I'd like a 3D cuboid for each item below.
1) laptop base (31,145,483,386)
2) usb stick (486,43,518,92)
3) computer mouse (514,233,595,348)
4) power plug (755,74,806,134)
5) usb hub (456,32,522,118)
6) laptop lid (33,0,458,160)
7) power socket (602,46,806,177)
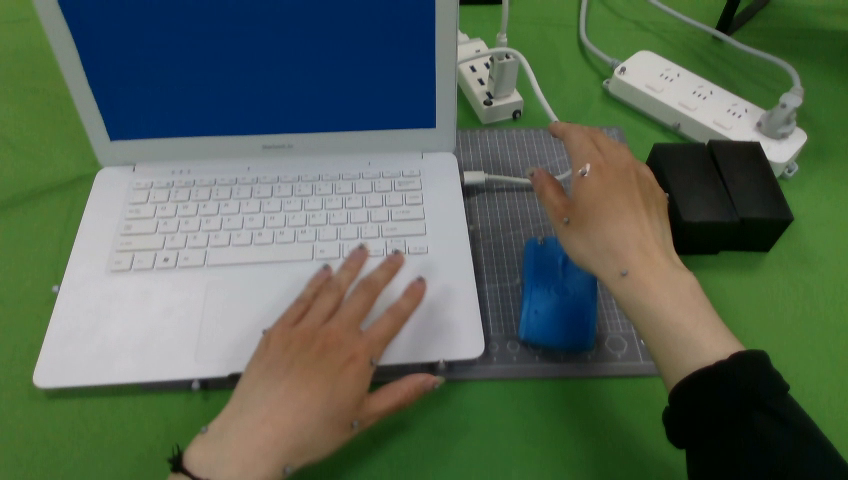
[{"bbox_3d":[-0.136,0.011,0.542,0.355,0.023,0.233,-3,57,-4],"label":"laptop base"},{"bbox_3d":[0.083,-0.179,0.653,0.027,0.060,0.021,-20,54,-13],"label":"usb stick"},{"bbox_3d":[0.112,0.037,0.515,0.062,0.041,0.116,8,48,7],"label":"computer mouse"},{"bbox_3d":[0.378,-0.133,0.631,0.072,0.053,0.035,-29,57,-20],"label":"power plug"},{"bbox_3d":[0.064,-0.192,0.698,0.049,0.025,0.124,-15,54,-13],"label":"usb hub"},{"bbox_3d":[-0.145,-0.175,0.536,0.357,0.244,0.013,-4,40,-3],"label":"laptop lid"},{"bbox_3d":[0.305,-0.146,0.667,0.072,0.033,0.225,-37,62,-27],"label":"power socket"}]
